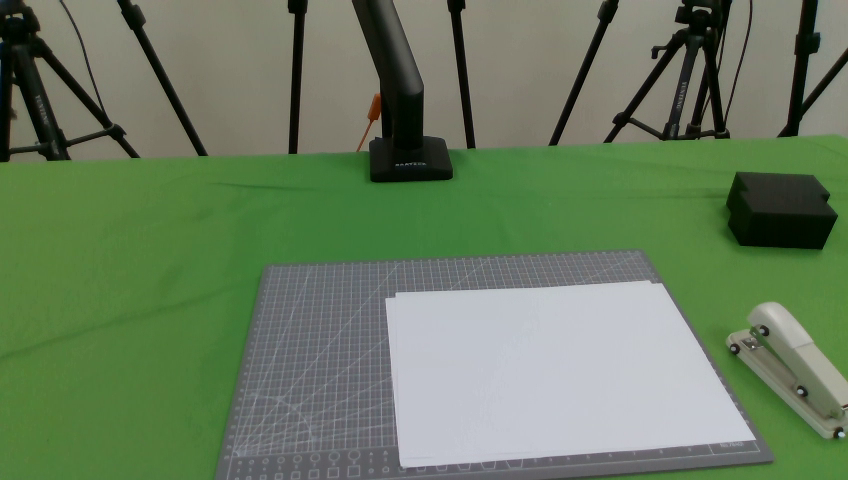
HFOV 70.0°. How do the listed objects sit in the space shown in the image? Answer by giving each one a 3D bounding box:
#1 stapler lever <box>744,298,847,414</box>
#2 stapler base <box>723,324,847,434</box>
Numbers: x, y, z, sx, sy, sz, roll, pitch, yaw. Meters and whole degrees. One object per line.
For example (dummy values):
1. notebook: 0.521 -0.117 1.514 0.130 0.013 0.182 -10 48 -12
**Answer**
1. stapler lever: 0.338 0.099 0.544 0.027 0.040 0.116 -13 39 -15
2. stapler base: 0.337 0.119 0.561 0.041 0.024 0.129 -13 39 -16
